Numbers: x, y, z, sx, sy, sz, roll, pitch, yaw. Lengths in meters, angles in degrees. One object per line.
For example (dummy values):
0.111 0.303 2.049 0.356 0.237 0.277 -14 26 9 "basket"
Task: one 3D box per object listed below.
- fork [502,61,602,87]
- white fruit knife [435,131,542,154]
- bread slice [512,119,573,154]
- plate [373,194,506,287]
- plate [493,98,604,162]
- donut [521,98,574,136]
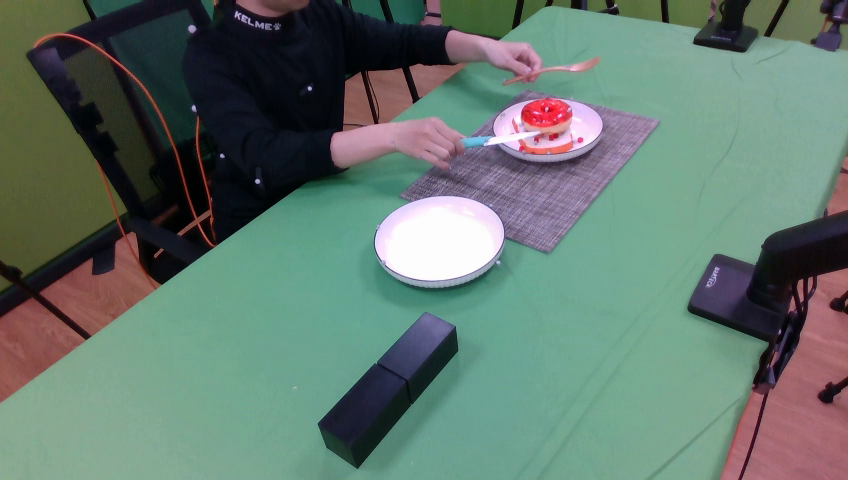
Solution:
0.253 -0.331 1.212 0.206 0.018 0.028 -2 2 29 "fork"
0.110 -0.172 1.057 0.206 0.016 0.027 -2 44 34 "white fruit knife"
0.232 -0.204 1.160 0.105 0.019 0.131 -7 39 1 "bread slice"
0.025 0.003 0.951 0.207 0.039 0.206 -4 41 4 "plate"
0.237 -0.206 1.158 0.209 0.038 0.208 -4 40 4 "plate"
0.232 -0.232 1.135 0.099 0.048 0.098 -4 41 4 "donut"
